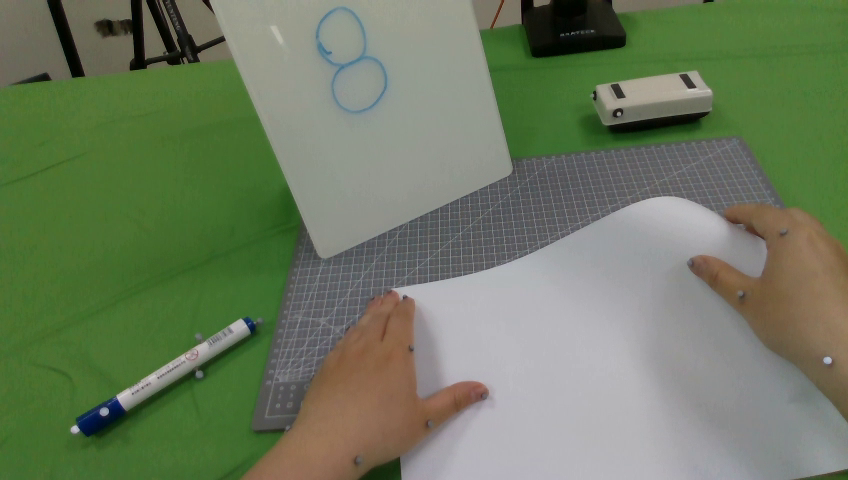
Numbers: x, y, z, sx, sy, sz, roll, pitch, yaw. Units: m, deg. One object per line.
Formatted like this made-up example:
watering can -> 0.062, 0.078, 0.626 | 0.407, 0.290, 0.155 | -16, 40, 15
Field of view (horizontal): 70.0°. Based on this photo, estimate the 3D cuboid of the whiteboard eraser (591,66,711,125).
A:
whiteboard eraser -> 0.241, -0.152, 0.647 | 0.112, 0.042, 0.055 | -7, 46, 2

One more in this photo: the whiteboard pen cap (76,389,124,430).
whiteboard pen cap -> -0.244, 0.128, 0.460 | 0.033, 0.018, 0.018 | -34, 49, -24

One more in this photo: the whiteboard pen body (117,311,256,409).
whiteboard pen body -> -0.199, 0.100, 0.483 | 0.141, 0.017, 0.017 | -33, 49, -24

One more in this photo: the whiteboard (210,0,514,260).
whiteboard -> -0.071, -0.177, 0.583 | 0.217, 0.308, 0.142 | -25, 26, -14
